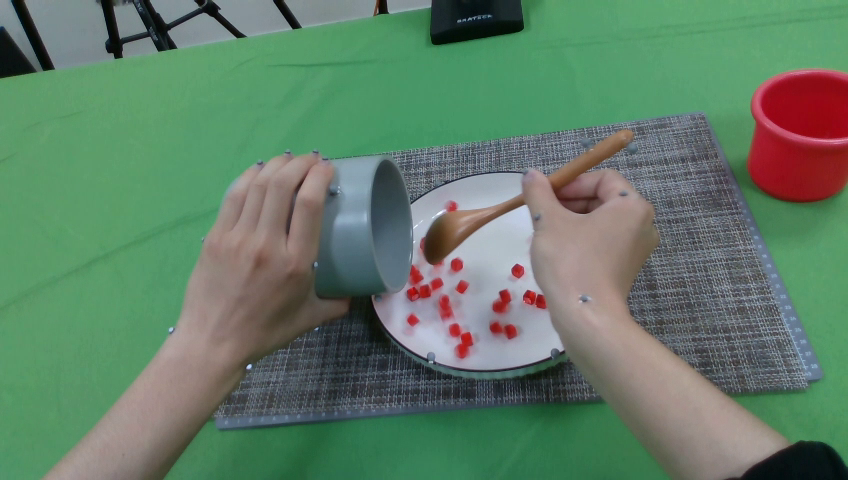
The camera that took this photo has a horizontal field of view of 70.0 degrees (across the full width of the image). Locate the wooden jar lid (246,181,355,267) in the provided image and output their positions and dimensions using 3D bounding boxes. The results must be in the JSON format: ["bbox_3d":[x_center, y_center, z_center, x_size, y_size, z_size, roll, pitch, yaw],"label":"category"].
[{"bbox_3d":[-0.119,-0.015,0.593,0.108,0.021,0.107,-6,48,7],"label":"wooden jar lid"}]

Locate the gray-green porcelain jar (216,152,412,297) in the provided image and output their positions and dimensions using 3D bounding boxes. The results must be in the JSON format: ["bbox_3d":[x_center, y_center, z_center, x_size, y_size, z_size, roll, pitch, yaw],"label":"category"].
[{"bbox_3d":[-0.084,-0.010,0.467,0.126,0.107,0.105,-3,49,14],"label":"gray-green porcelain jar"}]

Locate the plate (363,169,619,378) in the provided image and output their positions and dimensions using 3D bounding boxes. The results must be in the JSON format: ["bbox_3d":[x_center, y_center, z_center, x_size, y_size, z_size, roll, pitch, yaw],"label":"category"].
[{"bbox_3d":[0.053,0.026,0.503,0.207,0.039,0.205,-7,49,8],"label":"plate"}]

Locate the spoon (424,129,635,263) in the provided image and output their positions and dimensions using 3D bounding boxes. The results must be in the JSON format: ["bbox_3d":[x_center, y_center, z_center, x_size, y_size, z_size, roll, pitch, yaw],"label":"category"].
[{"bbox_3d":[0.067,-0.031,0.443,0.193,0.022,0.041,-27,47,34],"label":"spoon"}]
